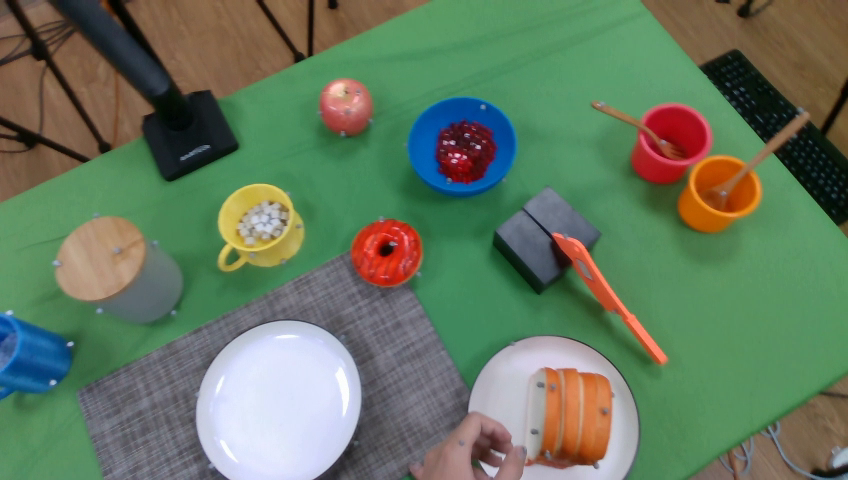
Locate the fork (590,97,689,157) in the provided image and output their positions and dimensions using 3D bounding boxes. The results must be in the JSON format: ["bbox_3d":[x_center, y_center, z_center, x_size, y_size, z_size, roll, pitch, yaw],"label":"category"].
[{"bbox_3d":[0.296,-0.152,0.822,0.209,0.018,0.028,18,63,-35],"label":"fork"}]

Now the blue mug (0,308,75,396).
[{"bbox_3d":[-0.523,0.153,0.764,0.082,0.106,0.116,33,74,14],"label":"blue mug"}]

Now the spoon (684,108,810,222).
[{"bbox_3d":[0.422,-0.096,0.794,0.022,0.194,0.041,-11,57,-51],"label":"spoon"}]

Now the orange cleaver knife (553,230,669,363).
[{"bbox_3d":[0.237,0.070,0.775,0.012,0.077,0.212,-39,96,-9],"label":"orange cleaver knife"}]

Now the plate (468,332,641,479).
[{"bbox_3d":[0.157,0.218,0.746,0.209,0.038,0.207,-1,69,2],"label":"plate"}]

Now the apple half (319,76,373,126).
[{"bbox_3d":[-0.109,-0.210,0.902,0.080,0.075,0.053,24,66,15],"label":"apple half"}]

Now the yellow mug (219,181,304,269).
[{"bbox_3d":[-0.232,-0.012,0.836,0.099,0.064,0.130,35,75,14],"label":"yellow mug"}]

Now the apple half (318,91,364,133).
[{"bbox_3d":[-0.126,-0.178,0.889,0.081,0.082,0.032,25,67,12],"label":"apple half"}]

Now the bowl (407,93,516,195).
[{"bbox_3d":[0.053,-0.123,0.859,0.151,0.077,0.150,-1,70,2],"label":"bowl"}]

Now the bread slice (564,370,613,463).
[{"bbox_3d":[0.187,0.203,0.693,0.019,0.132,0.104,9,72,1],"label":"bread slice"}]

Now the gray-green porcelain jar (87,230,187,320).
[{"bbox_3d":[-0.379,0.043,0.789,0.106,0.127,0.105,-1,68,2],"label":"gray-green porcelain jar"}]

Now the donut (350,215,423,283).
[{"bbox_3d":[-0.051,0.012,0.826,0.099,0.048,0.098,-1,70,2],"label":"donut"}]

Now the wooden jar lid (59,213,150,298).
[{"bbox_3d":[-0.383,0.020,0.731,0.108,0.021,0.107,-1,68,4],"label":"wooden jar lid"}]

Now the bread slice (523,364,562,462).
[{"bbox_3d":[0.135,0.196,0.697,0.018,0.135,0.106,7,66,1],"label":"bread slice"}]

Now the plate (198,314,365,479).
[{"bbox_3d":[-0.176,0.198,0.765,0.207,0.039,0.206,-1,69,2],"label":"plate"}]
